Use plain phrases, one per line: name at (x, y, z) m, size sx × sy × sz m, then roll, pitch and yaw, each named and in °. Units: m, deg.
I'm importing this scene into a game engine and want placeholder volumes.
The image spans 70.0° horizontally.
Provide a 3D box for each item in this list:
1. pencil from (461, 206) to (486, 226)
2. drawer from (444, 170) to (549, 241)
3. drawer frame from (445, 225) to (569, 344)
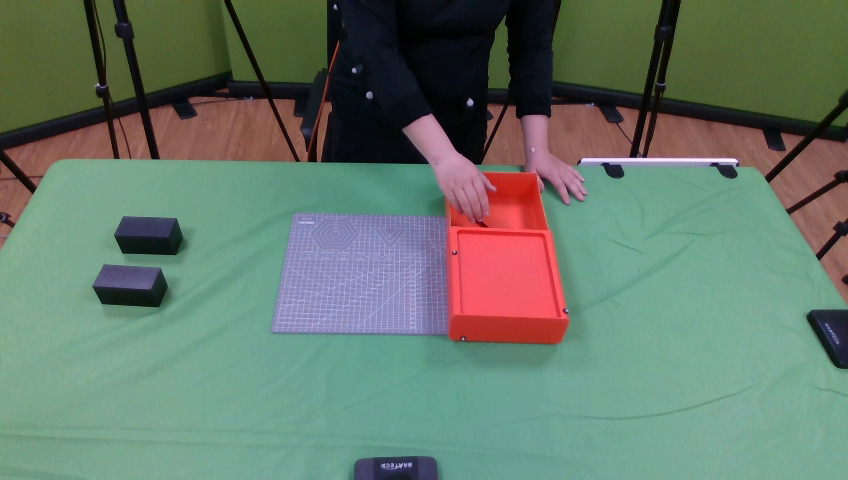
pencil at (0.134, -0.017, 1.222) m, size 0.012 × 0.012 × 0.193 m, roll -25°, pitch 50°, yaw -26°
drawer at (0.141, -0.049, 1.217) m, size 0.194 × 0.073 × 0.210 m, roll 2°, pitch 43°, yaw -3°
drawer frame at (0.141, 0.076, 1.089) m, size 0.202 × 0.083 × 0.212 m, roll 2°, pitch 47°, yaw -3°
